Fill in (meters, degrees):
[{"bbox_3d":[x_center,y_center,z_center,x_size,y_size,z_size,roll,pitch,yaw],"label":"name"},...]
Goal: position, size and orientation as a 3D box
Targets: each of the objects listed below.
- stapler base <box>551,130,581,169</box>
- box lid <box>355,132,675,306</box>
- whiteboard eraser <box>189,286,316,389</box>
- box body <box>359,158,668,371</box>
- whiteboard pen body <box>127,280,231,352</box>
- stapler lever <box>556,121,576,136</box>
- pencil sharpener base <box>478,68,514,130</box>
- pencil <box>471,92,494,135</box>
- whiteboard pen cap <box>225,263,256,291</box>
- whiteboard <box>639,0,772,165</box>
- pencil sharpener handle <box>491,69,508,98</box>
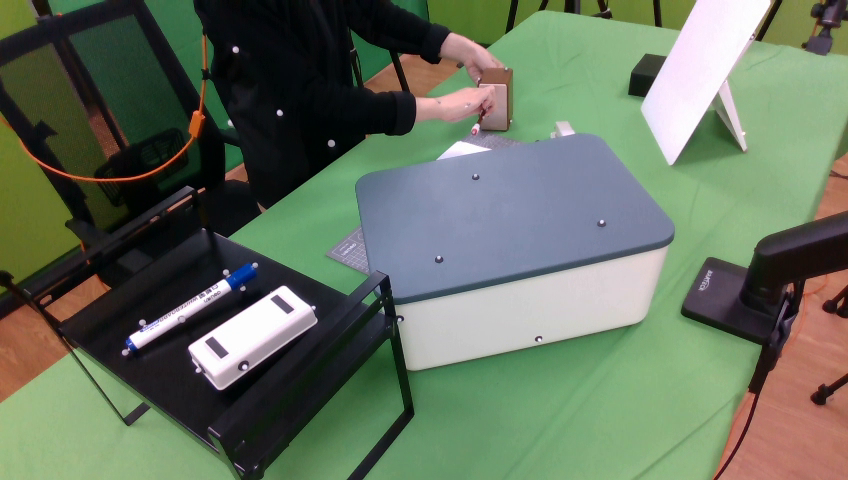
[{"bbox_3d":[0.268,-0.178,1.142,0.041,0.024,0.130,0,37,3],"label":"stapler base"},{"bbox_3d":[0.103,-0.042,0.785,0.372,0.015,0.261,-12,41,-5],"label":"box lid"},{"bbox_3d":[-0.166,0.096,0.593,0.113,0.042,0.055,-36,47,-29],"label":"whiteboard eraser"},{"bbox_3d":[0.108,0.014,0.833,0.365,0.161,0.252,-11,41,-5],"label":"box body"},{"bbox_3d":[-0.248,0.072,0.645,0.141,0.017,0.017,-35,47,-23],"label":"whiteboard pen body"},{"bbox_3d":[0.266,-0.198,1.128,0.027,0.040,0.117,0,38,3],"label":"stapler lever"},{"bbox_3d":[0.148,-0.286,1.224,0.061,0.107,0.076,5,42,15],"label":"pencil sharpener base"},{"bbox_3d":[0.113,-0.243,1.124,0.012,0.012,0.194,7,38,15],"label":"pencil"},{"bbox_3d":[-0.204,0.041,0.668,0.033,0.018,0.018,-36,48,-22],"label":"whiteboard pen cap"},{"bbox_3d":[0.543,-0.298,1.076,0.144,0.305,0.216,12,40,-7],"label":"whiteboard"},{"bbox_3d":[0.154,-0.330,1.254,0.036,0.068,0.030,20,44,1],"label":"pencil sharpener handle"}]
